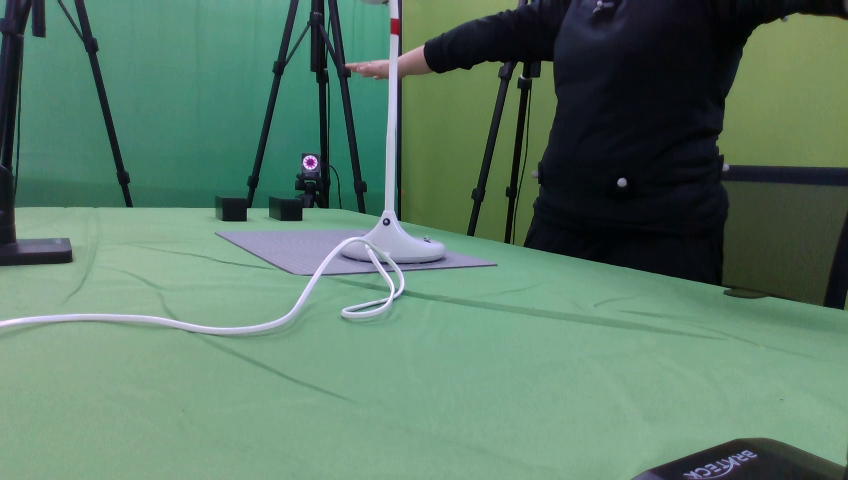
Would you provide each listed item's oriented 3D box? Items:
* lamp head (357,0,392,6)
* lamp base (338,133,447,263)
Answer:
[{"bbox_3d":[-0.056,-0.383,0.819,0.113,0.112,0.122,0,13,-22],"label":"lamp head"},{"bbox_3d":[-0.043,-0.062,0.868,0.161,0.180,0.179,2,10,-3],"label":"lamp base"}]
